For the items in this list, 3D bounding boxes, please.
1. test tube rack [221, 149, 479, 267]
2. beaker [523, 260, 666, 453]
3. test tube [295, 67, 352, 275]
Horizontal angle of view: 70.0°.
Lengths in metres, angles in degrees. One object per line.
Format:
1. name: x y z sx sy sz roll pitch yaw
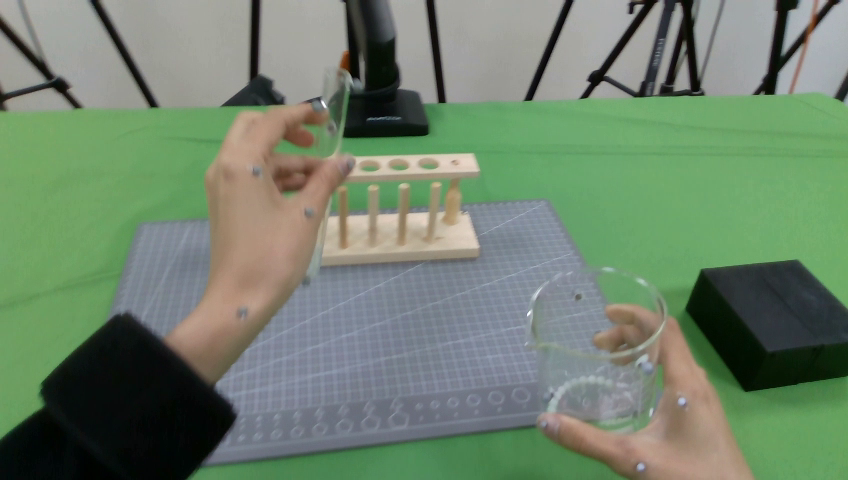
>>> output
1. test tube rack: -0.068 -0.033 0.597 0.243 0.086 0.066 -3 39 -8
2. beaker: 0.101 0.075 0.369 0.084 0.101 0.073 -21 38 -13
3. test tube: -0.067 -0.038 0.393 0.017 0.151 0.017 12 33 -7
